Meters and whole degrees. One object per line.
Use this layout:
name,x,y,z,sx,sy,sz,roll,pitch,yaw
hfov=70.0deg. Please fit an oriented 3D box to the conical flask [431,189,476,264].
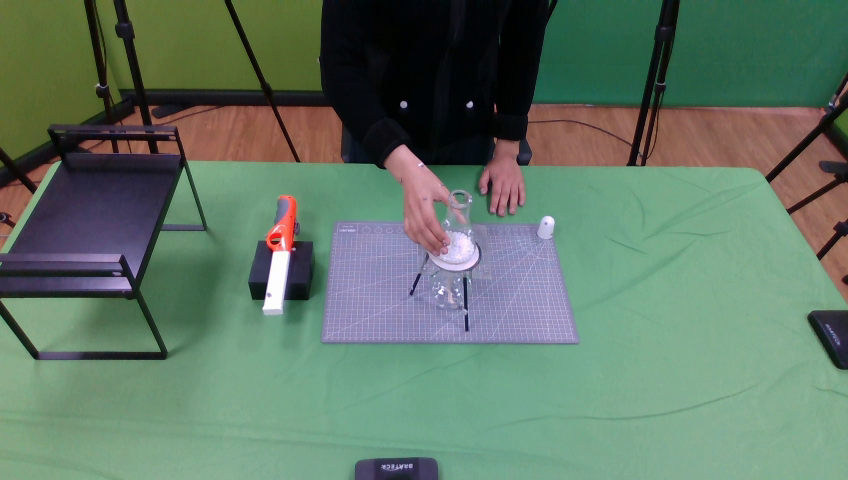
conical flask,0.051,-0.025,0.971,0.075,0.122,0.075,2,48,-2

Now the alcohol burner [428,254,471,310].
alcohol burner,0.047,0.068,1.070,0.078,0.119,0.077,3,45,-3

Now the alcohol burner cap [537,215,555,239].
alcohol burner cap,0.249,-0.029,1.228,0.034,0.048,0.033,1,48,-1

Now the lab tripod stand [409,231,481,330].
lab tripod stand,0.051,0.064,1.059,0.148,0.132,0.147,4,46,-4

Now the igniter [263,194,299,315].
igniter,-0.259,0.016,1.093,0.057,0.025,0.274,-3,49,-2

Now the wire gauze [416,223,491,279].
wire gauze,0.048,0.015,1.014,0.125,0.011,0.120,2,46,-1
